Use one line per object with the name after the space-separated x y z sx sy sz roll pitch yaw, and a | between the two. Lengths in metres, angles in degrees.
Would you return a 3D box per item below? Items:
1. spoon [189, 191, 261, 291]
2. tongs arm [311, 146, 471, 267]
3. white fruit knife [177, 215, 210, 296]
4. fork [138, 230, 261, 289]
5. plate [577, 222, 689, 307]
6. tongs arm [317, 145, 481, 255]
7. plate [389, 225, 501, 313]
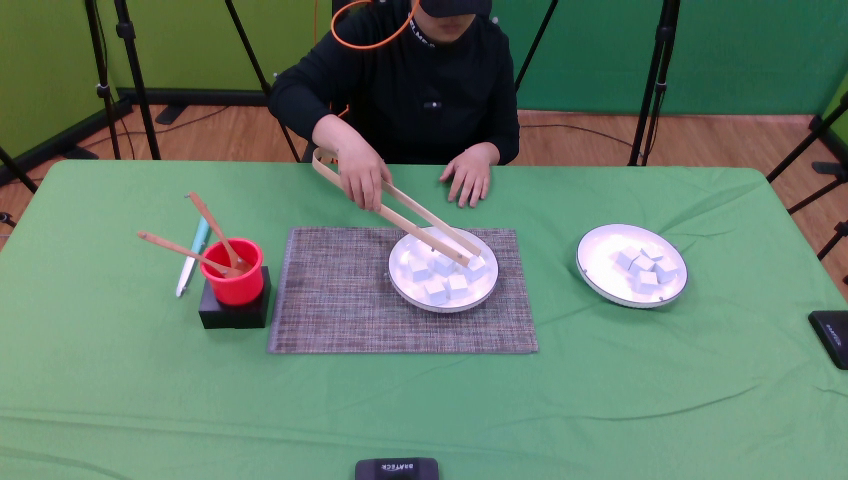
-0.333 0.001 1.012 0.041 0.194 0.021 -34 15 -25 | spoon
-0.067 -0.068 1.154 0.384 0.026 0.050 31 48 12 | tongs arm
-0.435 0.025 1.148 0.027 0.016 0.206 -18 45 19 | white fruit knife
-0.359 0.032 0.981 0.208 0.018 0.028 31 60 -30 | fork
0.396 0.050 1.165 0.209 0.038 0.208 2 47 -2 | plate
-0.052 -0.082 1.171 0.386 0.028 0.028 34 52 14 | tongs arm
0.038 0.057 1.129 0.208 0.039 0.206 2 46 -2 | plate
